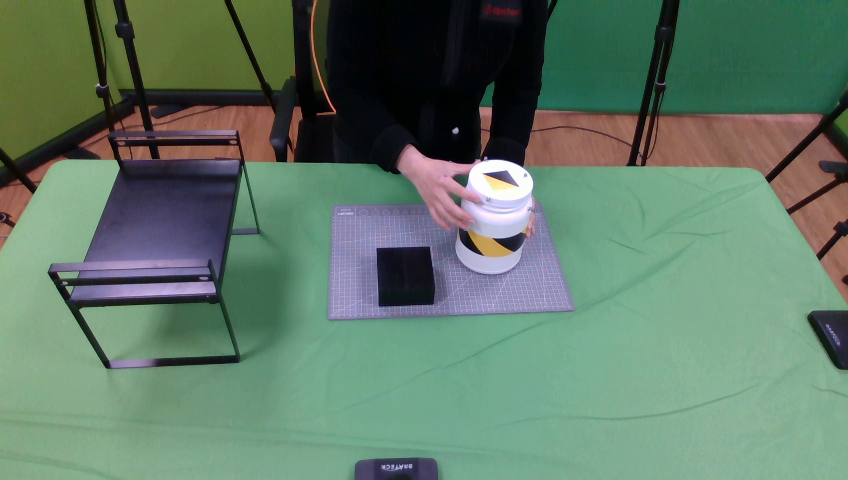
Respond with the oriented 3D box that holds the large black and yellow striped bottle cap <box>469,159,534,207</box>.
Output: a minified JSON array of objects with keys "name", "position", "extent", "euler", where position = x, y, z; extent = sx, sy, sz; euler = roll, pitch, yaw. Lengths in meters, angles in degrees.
[{"name":"large black and yellow striped bottle cap","position":[0.136,-0.102,1.064],"extent":[0.115,0.019,0.114],"euler":[3,45,-2]}]

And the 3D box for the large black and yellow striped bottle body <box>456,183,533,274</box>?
[{"name":"large black and yellow striped bottle body","position":[0.131,-0.040,1.127],"extent":[0.131,0.185,0.130],"euler":[2,46,-2]}]
